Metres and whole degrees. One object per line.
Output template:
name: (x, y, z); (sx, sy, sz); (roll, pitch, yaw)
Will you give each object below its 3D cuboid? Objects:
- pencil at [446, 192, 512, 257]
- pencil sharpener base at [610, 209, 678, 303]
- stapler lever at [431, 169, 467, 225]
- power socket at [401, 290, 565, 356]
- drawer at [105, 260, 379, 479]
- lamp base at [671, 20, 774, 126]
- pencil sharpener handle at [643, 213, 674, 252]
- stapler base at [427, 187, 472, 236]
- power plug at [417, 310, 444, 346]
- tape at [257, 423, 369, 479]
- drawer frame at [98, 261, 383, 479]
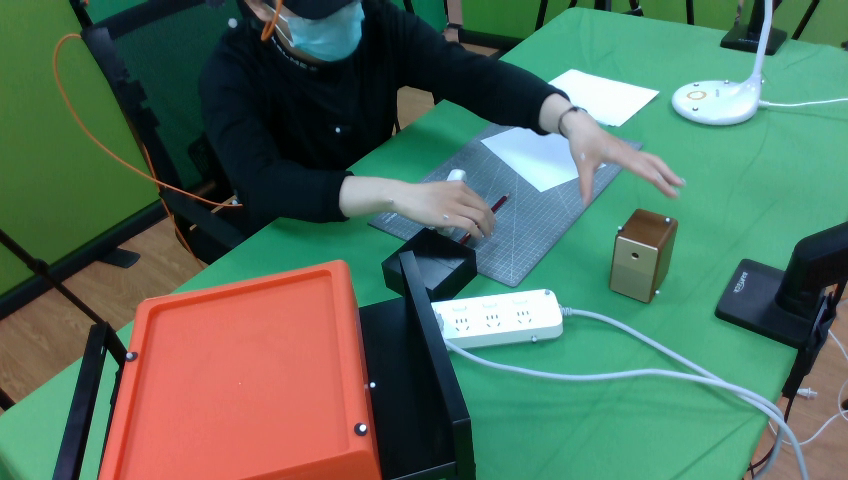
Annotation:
pencil: (0.095, -0.030, 0.999); (0.012, 0.012, 0.194); (23, 48, 31)
pencil sharpener base: (0.304, 0.021, 0.839); (0.061, 0.107, 0.077); (21, 48, 30)
stapler lever: (0.043, -0.074, 1.010); (0.026, 0.040, 0.118); (9, 44, 21)
power socket: (0.080, 0.112, 0.822); (0.227, 0.033, 0.072); (-6, 41, 0)
drawer: (-0.150, 0.127, 0.525); (0.195, 0.073, 0.210); (-11, 41, -5)
lamp base: (0.581, -0.332, 1.154); (0.179, 0.181, 0.160); (2, 41, 7)
pencil sharpener handle: (0.338, -0.016, 0.857); (0.035, 0.068, 0.031); (1, 35, 45)
stapler base: (0.045, -0.057, 1.028); (0.041, 0.024, 0.130); (9, 44, 21)
power plug: (0.006, 0.122, 0.785); (0.035, 0.053, 0.072); (-1, 40, 8)
tape: (-0.121, 0.262, 0.660); (0.117, 0.053, 0.116); (-4, 40, 4)
drawer frame: (-0.148, 0.129, 0.519); (0.202, 0.083, 0.212); (-12, 41, -6)
